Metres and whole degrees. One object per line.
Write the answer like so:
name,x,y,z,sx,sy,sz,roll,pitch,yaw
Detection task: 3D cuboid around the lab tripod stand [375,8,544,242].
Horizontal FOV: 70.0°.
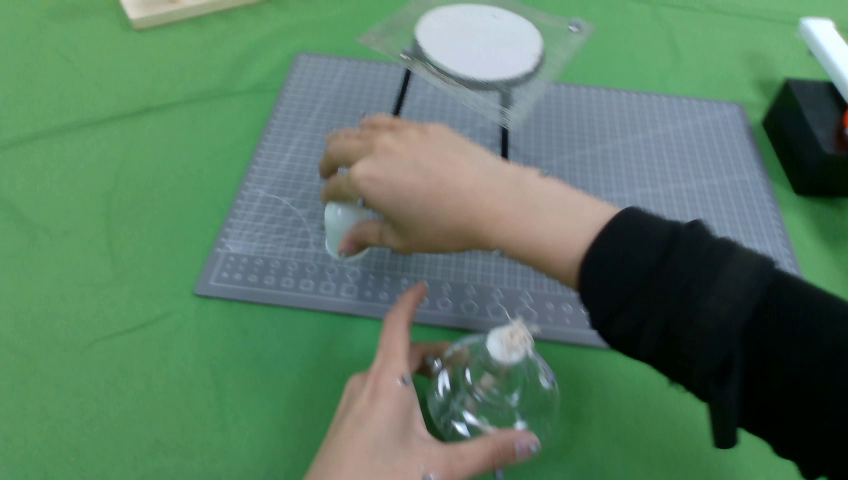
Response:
lab tripod stand,0.036,-0.090,0.460,0.148,0.132,0.147,3,51,-4

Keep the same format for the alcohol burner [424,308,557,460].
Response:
alcohol burner,0.039,0.077,0.341,0.078,0.120,0.077,1,51,0

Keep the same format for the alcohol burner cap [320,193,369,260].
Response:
alcohol burner cap,-0.054,-0.012,0.407,0.034,0.048,0.033,2,55,-3

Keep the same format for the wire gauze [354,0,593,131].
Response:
wire gauze,0.036,-0.134,0.408,0.124,0.011,0.121,30,55,17

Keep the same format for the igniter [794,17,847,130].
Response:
igniter,0.379,-0.114,0.516,0.057,0.025,0.274,3,48,2

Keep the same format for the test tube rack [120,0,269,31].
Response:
test tube rack,-0.208,-0.308,0.653,0.243,0.086,0.066,-23,57,-21
